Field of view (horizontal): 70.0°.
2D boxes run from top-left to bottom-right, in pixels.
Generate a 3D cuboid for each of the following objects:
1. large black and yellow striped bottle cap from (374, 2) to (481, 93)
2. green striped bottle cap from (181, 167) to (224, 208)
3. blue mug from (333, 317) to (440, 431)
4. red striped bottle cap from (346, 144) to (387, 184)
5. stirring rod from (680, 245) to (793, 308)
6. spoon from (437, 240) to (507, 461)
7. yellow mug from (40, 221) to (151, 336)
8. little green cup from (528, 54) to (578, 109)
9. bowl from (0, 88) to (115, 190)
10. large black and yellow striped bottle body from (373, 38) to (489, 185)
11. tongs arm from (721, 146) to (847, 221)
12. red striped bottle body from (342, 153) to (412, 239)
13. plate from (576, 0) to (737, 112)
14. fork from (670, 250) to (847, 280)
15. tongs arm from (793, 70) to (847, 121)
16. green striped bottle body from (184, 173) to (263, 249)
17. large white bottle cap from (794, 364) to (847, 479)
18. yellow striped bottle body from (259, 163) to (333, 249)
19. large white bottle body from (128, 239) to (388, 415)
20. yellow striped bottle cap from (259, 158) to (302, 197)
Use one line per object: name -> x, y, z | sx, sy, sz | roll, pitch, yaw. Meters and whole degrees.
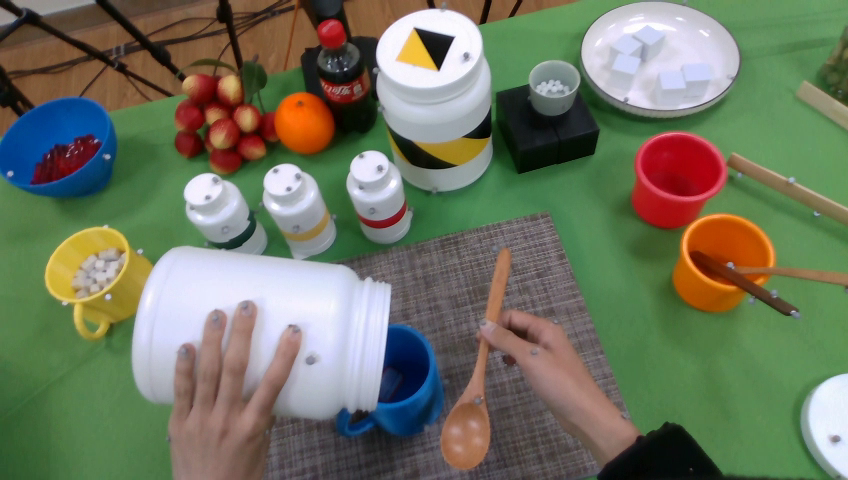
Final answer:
large black and yellow striped bottle cap -> 0.004, -0.208, 0.649 | 0.115, 0.019, 0.114 | -4, 63, 7
green striped bottle cap -> -0.244, -0.058, 0.667 | 0.044, 0.020, 0.044 | -2, 60, 3
blue mug -> -0.041, 0.145, 0.597 | 0.116, 0.107, 0.081 | -39, 63, -15
red striped bottle cap -> -0.063, -0.084, 0.662 | 0.044, 0.018, 0.044 | -1, 58, 1
stirring rod -> 0.308, 0.033, 0.611 | 0.014, 0.006, 0.175 | -11, 17, -3
spoon -> 0.049, 0.092, 0.524 | 0.041, 0.022, 0.193 | 12, 81, 14
yellow mug -> -0.387, 0.049, 0.714 | 0.100, 0.064, 0.129 | -5, 61, 3
little green cup -> 0.157, -0.195, 0.750 | 0.061, 0.039, 0.061 | -2, 58, 3
bowl -> -0.477, -0.119, 0.809 | 0.151, 0.077, 0.150 | -2, 61, 4
large black and yellow striped bottle body -> 0.012, -0.167, 0.724 | 0.131, 0.185, 0.129 | -2, 61, 5
tongs arm -> 0.525, -0.021, 0.676 | 0.382, 0.027, 0.050 | 35, 66, 21
red striped bottle body -> -0.056, -0.057, 0.708 | 0.063, 0.121, 0.062 | -6, 58, 10
plate -> 0.311, -0.252, 0.825 | 0.209, 0.038, 0.207 | -2, 61, 4
fork -> 0.338, 0.026, 0.603 | 0.028, 0.019, 0.206 | -50, 23, -19
tongs arm -> 0.591, -0.078, 0.703 | 0.028, 0.028, 0.384 | -29, 62, -18
green striped bottle body -> -0.237, -0.033, 0.712 | 0.063, 0.120, 0.062 | -2, 60, 4
large white bottle cap -> 0.423, 0.177, 0.586 | 0.115, 0.018, 0.114 | -2, 60, 5
yellow striped bottle body -> -0.151, -0.044, 0.709 | 0.063, 0.121, 0.062 | -3, 60, 5
large white bottle body -> -0.128, 0.075, 0.505 | 0.185, 0.131, 0.129 | 9, 61, -6
yellow striped bottle cap -> -0.157, -0.069, 0.664 | 0.044, 0.019, 0.044 | -1, 56, 1
